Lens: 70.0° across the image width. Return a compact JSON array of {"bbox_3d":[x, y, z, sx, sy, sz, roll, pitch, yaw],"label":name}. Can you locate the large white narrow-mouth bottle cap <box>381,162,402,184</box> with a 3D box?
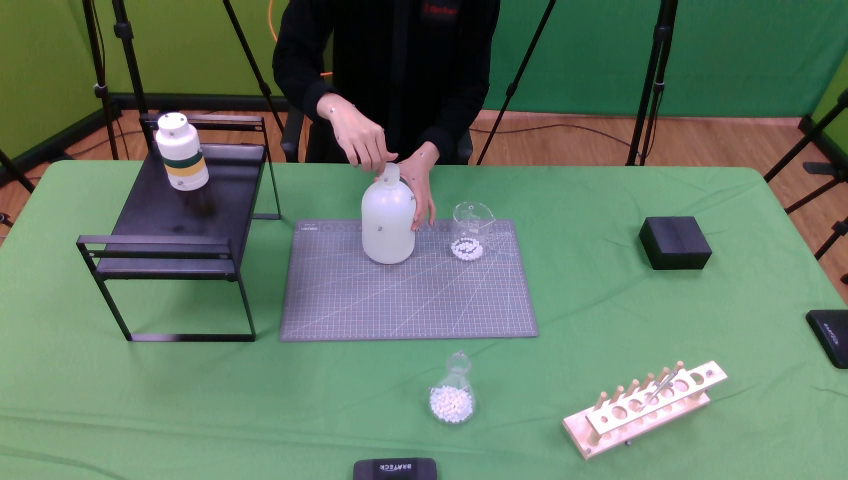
[{"bbox_3d":[-0.056,-0.117,1.050,0.038,0.024,0.037,4,45,-4],"label":"large white narrow-mouth bottle cap"}]

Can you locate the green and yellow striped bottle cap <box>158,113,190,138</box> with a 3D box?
[{"bbox_3d":[-0.393,-0.180,0.951,0.045,0.020,0.045,2,44,-2],"label":"green and yellow striped bottle cap"}]

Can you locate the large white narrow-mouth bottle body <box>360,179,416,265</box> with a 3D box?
[{"bbox_3d":[-0.066,-0.050,1.119,0.102,0.195,0.101,4,45,-4],"label":"large white narrow-mouth bottle body"}]

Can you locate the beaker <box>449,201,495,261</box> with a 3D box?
[{"bbox_3d":[0.089,-0.014,1.161,0.084,0.101,0.073,9,47,4],"label":"beaker"}]

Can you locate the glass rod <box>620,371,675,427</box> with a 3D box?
[{"bbox_3d":[0.316,0.230,0.863,0.008,0.200,0.008,3,54,-3],"label":"glass rod"}]

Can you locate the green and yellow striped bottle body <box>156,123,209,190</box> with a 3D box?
[{"bbox_3d":[-0.395,-0.145,0.989,0.063,0.120,0.063,2,46,-2],"label":"green and yellow striped bottle body"}]

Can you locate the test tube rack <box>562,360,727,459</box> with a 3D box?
[{"bbox_3d":[0.341,0.247,0.940,0.243,0.085,0.066,-16,49,-18],"label":"test tube rack"}]

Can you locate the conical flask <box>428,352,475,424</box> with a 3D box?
[{"bbox_3d":[0.046,0.220,0.920,0.075,0.122,0.075,2,46,-2],"label":"conical flask"}]
